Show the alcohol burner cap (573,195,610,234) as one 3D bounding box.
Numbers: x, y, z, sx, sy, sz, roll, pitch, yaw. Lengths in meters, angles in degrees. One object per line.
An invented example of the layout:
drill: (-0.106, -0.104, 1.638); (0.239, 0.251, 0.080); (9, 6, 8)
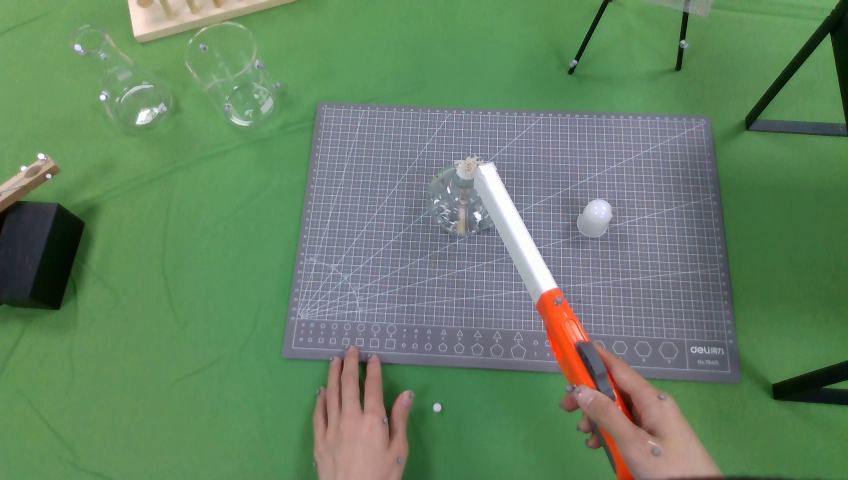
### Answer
alcohol burner cap: (0.176, -0.029, 0.629); (0.034, 0.048, 0.033); (0, 70, 1)

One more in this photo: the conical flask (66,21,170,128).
conical flask: (-0.335, -0.182, 0.657); (0.075, 0.122, 0.075); (-1, 69, 2)

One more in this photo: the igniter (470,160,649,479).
igniter: (0.100, 0.053, 0.479); (0.025, 0.057, 0.274); (-18, 65, -14)

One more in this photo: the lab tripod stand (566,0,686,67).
lab tripod stand: (0.231, -0.261, 0.667); (0.148, 0.132, 0.147); (0, 69, 0)

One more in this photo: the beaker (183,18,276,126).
beaker: (-0.209, -0.176, 0.664); (0.074, 0.101, 0.083); (17, 72, 9)

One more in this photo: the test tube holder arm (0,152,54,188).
test tube holder arm: (-0.453, -0.030, 0.607); (0.178, 0.015, 0.013); (-40, 73, -13)

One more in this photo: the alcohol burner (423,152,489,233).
alcohol burner: (0.038, -0.053, 0.602); (0.078, 0.120, 0.077); (0, 68, 0)

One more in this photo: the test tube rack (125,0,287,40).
test tube rack: (-0.250, -0.324, 0.727); (0.242, 0.086, 0.066); (-17, 70, -5)

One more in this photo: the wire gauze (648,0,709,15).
wire gauze: (0.237, -0.286, 0.604); (0.121, 0.011, 0.124); (23, 73, 8)

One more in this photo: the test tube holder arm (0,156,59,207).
test tube holder arm: (-0.415, -0.054, 0.616); (0.088, 0.015, 0.010); (-39, 73, -13)
